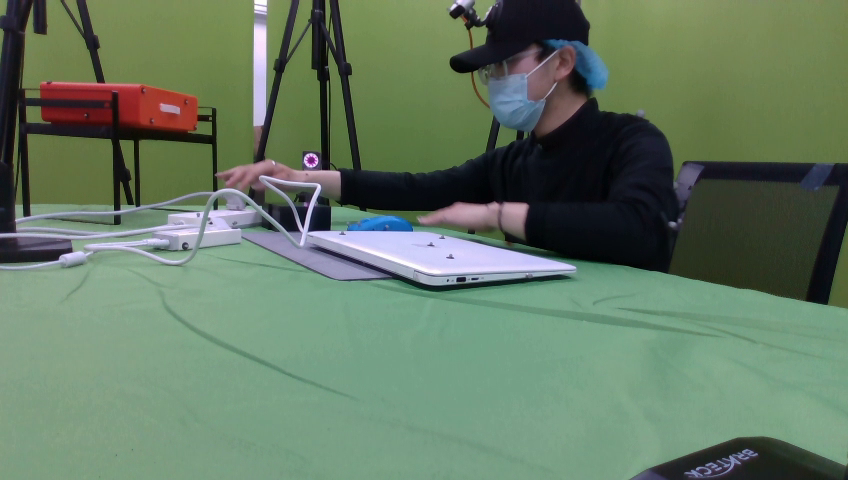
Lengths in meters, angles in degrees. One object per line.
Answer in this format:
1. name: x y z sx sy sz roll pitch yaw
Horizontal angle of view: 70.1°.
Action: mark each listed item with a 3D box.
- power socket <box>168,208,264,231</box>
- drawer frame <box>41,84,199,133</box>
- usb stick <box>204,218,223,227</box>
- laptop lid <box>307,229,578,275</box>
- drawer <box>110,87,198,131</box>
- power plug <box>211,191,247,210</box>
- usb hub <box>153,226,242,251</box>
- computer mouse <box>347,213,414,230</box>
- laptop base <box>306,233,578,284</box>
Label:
1. power socket: -0.381 -0.038 1.128 0.072 0.032 0.227 4 8 16
2. drawer frame: -0.604 -0.264 1.225 0.213 0.082 0.202 3 8 8
3. usb stick: -0.345 -0.018 1.010 0.021 0.027 0.059 -42 -1 -9
4. laptop lid: 0.009 0.010 0.849 0.243 0.013 0.355 0 8 -32
5. drawer: -0.601 -0.263 1.225 0.211 0.073 0.195 3 8 10
6. power plug: -0.386 -0.070 1.204 0.072 0.052 0.035 7 10 28
7. usb hub: -0.337 -0.003 0.907 0.049 0.025 0.125 6 9 28
8. computer mouse: -0.079 -0.025 1.080 0.117 0.041 0.062 -5 11 -18
9. laptop base: 0.007 0.022 0.850 0.237 0.023 0.352 1 7 -34
